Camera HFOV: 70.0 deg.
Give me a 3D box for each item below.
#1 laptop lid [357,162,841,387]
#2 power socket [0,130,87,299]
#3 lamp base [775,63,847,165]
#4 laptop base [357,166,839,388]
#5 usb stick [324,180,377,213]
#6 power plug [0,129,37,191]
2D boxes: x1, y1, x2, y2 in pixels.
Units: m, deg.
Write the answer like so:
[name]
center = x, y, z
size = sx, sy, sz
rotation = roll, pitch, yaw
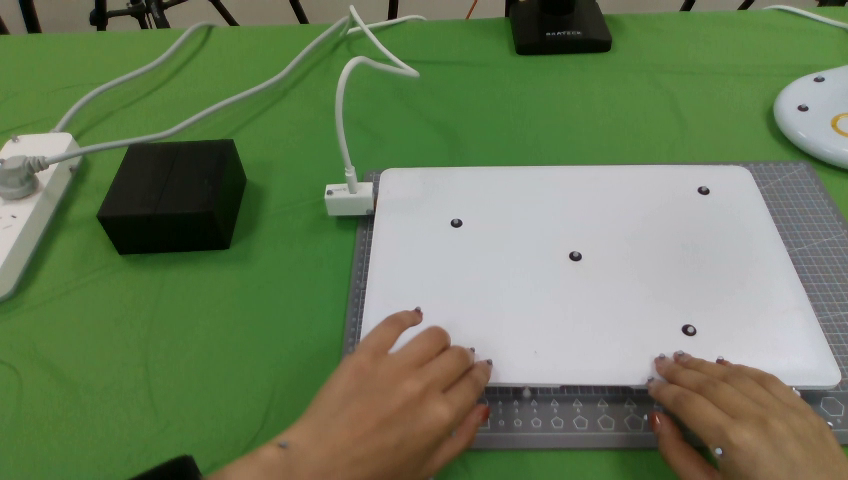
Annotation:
[laptop lid]
center = 0.128, 0.015, 0.509
size = 0.356, 0.013, 0.239
rotation = 1, 50, 4
[power socket]
center = -0.395, -0.031, 0.582
size = 0.072, 0.033, 0.224
rotation = -2, 47, -1
[lamp base]
center = 0.459, -0.188, 0.587
size = 0.159, 0.182, 0.179
rotation = 26, 52, 24
[laptop base]
center = 0.129, 0.022, 0.520
size = 0.354, 0.023, 0.233
rotation = 0, 51, 2
[usb stick]
center = -0.062, -0.041, 0.569
size = 0.059, 0.027, 0.021
rotation = 0, 44, 0
[power plug]
center = -0.387, -0.079, 0.557
size = 0.053, 0.073, 0.035
rotation = 10, 30, -19
